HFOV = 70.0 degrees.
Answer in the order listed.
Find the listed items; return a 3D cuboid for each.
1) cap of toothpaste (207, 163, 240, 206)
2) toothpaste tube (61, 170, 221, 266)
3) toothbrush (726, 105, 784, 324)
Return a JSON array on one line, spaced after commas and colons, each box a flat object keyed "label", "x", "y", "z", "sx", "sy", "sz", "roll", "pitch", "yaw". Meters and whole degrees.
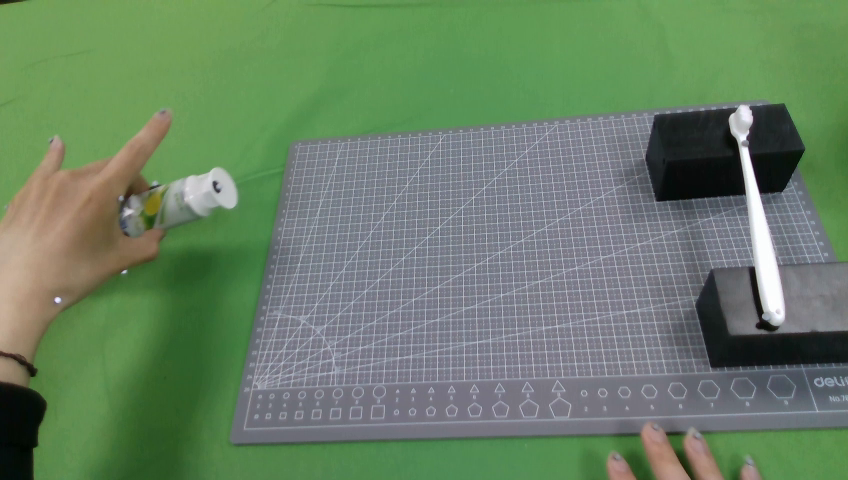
[{"label": "cap of toothpaste", "x": -0.162, "y": -0.044, "z": 0.487, "sx": 0.011, "sy": 0.038, "sz": 0.037, "roll": -16, "pitch": 53, "yaw": 13}, {"label": "toothpaste tube", "x": -0.236, "y": -0.025, "z": 0.505, "sx": 0.165, "sy": 0.035, "sz": 0.054, "roll": -16, "pitch": 63, "yaw": 12}, {"label": "toothbrush", "x": 0.229, "y": -0.025, "z": 0.420, "sx": 0.014, "sy": 0.017, "sz": 0.180, "roll": 11, "pitch": 58, "yaw": -2}]
